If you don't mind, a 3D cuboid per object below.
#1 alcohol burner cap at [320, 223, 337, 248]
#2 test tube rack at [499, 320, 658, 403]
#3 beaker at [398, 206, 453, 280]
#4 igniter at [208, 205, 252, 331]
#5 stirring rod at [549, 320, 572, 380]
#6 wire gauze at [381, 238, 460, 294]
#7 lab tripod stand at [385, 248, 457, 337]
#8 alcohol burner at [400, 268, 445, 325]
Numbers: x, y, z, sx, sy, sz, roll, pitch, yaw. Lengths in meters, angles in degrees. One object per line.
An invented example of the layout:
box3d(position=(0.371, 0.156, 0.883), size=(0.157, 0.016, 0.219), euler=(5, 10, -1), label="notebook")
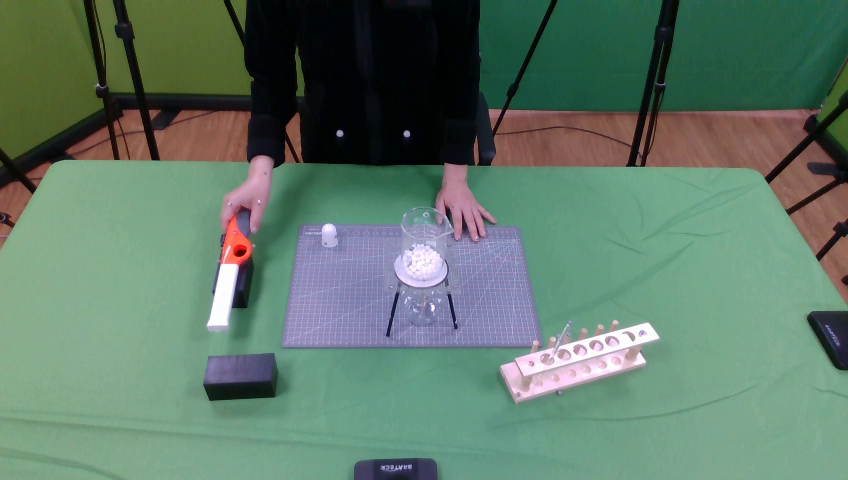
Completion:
box3d(position=(-0.187, -0.011, 1.176), size=(0.034, 0.048, 0.033), euler=(1, 47, -1), label="alcohol burner cap")
box3d(position=(0.252, 0.187, 0.994), size=(0.243, 0.085, 0.066), euler=(-12, 48, -15), label="test tube rack")
box3d(position=(0.000, 0.008, 0.950), size=(0.084, 0.101, 0.073), euler=(10, 46, 6), label="beaker")
box3d(position=(-0.340, 0.038, 1.065), size=(0.057, 0.025, 0.274), euler=(1, 49, -6), label="igniter")
box3d(position=(0.202, 0.167, 0.901), size=(0.006, 0.177, 0.014), euler=(-16, 54, -10), label="stirring rod")
box3d(position=(-0.007, 0.042, 0.985), size=(0.125, 0.011, 0.120), euler=(-1, 43, -2), label="wire gauze")
box3d(position=(-0.010, 0.087, 1.032), size=(0.148, 0.132, 0.147), euler=(1, 45, -1), label="lab tripod stand")
box3d(position=(-0.003, 0.092, 1.042), size=(0.078, 0.120, 0.077), euler=(1, 46, -1), label="alcohol burner")
